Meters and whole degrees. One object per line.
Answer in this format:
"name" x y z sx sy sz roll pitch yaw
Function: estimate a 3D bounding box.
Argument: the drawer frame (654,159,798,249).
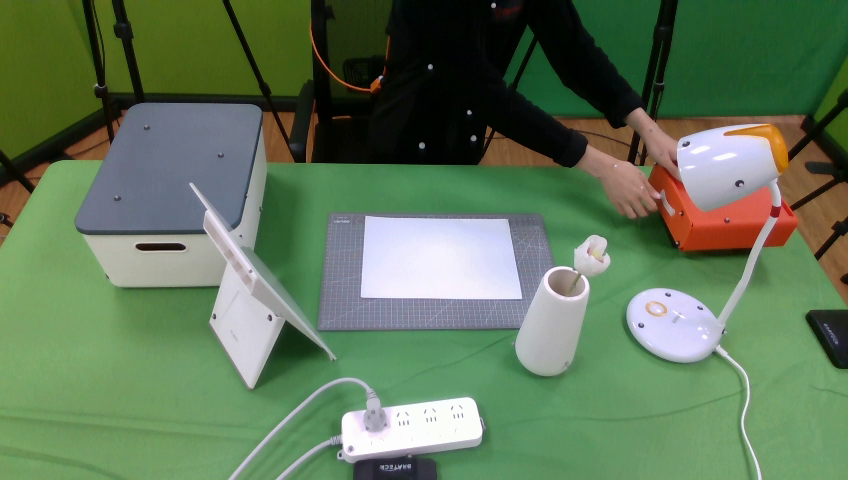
"drawer frame" 0.588 -0.077 1.219 0.214 0.083 0.200 -2 45 -5

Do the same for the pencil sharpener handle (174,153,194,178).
"pencil sharpener handle" -0.479 -0.156 1.225 0.036 0.068 0.030 23 47 2

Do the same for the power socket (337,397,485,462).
"power socket" -0.018 0.285 0.915 0.227 0.033 0.071 -5 46 -8

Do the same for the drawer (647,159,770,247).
"drawer" 0.582 -0.078 1.216 0.212 0.073 0.193 -1 45 -6

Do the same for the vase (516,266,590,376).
"vase" 0.208 0.132 0.964 0.098 0.201 0.097 3 46 -3

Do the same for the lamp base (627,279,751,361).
"lamp base" 0.459 0.100 1.027 0.178 0.181 0.160 27 51 17

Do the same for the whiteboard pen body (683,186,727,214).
"whiteboard pen body" 0.572 -0.081 1.238 0.141 0.017 0.017 -26 53 -26

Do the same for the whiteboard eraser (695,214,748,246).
"whiteboard eraser" 0.592 -0.018 1.210 0.113 0.042 0.055 12 27 -36

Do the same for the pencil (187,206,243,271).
"pencil" -0.401 -0.009 1.176 0.012 0.012 0.193 15 44 10

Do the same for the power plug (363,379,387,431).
"power plug" -0.072 0.252 0.910 0.035 0.053 0.072 3 44 -1

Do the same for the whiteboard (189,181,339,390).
"whiteboard" -0.292 0.096 0.929 0.144 0.307 0.216 -37 57 -10

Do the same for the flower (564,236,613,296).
"flower" 0.206 0.088 0.892 0.038 0.363 0.044 -18 67 -10

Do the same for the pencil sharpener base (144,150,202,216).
"pencil sharpener base" -0.493 -0.113 1.198 0.061 0.107 0.076 14 46 12

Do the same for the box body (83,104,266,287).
"box body" -0.447 -0.088 1.150 0.254 0.161 0.361 -1 46 -5

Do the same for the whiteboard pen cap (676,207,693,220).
"whiteboard pen cap" 0.524 -0.053 1.217 0.033 0.018 0.018 -27 54 -24

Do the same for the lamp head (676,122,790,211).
"lamp head" 0.423 -0.104 0.819 0.122 0.113 0.112 -13 33 40

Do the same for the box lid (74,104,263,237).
"box lid" -0.443 -0.139 1.095 0.263 0.015 0.369 -1 45 -5
